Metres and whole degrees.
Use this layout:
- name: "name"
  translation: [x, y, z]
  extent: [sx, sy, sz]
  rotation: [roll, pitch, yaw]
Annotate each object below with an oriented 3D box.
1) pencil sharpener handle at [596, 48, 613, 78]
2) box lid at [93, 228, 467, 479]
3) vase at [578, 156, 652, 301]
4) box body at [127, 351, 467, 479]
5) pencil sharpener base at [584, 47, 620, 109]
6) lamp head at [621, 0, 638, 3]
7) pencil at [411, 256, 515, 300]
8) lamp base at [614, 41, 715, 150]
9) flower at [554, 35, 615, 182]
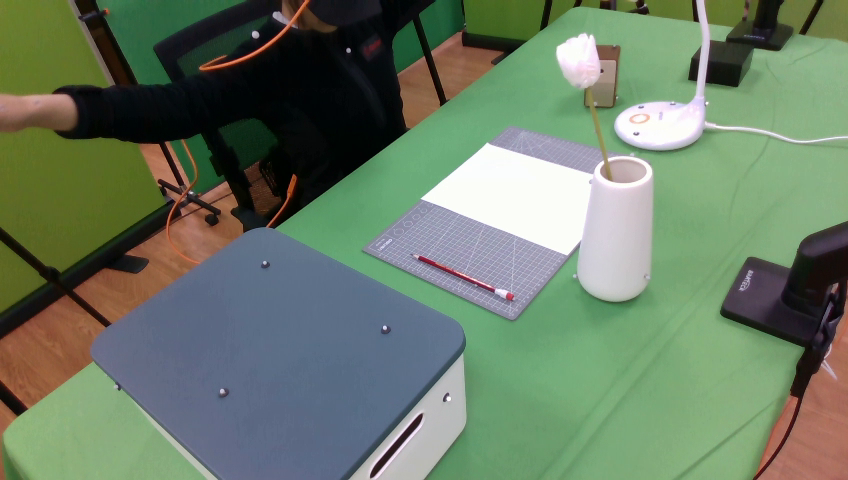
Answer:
- name: "pencil sharpener handle"
  translation: [0.383, -0.378, 1.276]
  extent: [0.036, 0.068, 0.030]
  rotation: [2, 41, 22]
- name: "box lid"
  translation: [-0.167, 0.110, 0.661]
  extent: [0.368, 0.015, 0.264]
  rotation: [23, 49, 34]
- name: "vase"
  translation: [0.261, -0.011, 0.812]
  extent: [0.098, 0.201, 0.097]
  rotation: [-4, 40, 4]
- name: "box body"
  translation: [-0.155, 0.169, 0.707]
  extent: [0.361, 0.161, 0.255]
  rotation: [23, 49, 33]
- name: "pencil sharpener base"
  translation: [0.367, -0.336, 1.248]
  extent: [0.061, 0.107, 0.076]
  rotation: [6, 42, 19]
- name: "lamp head"
  translation: [0.319, -0.453, 0.962]
  extent: [0.113, 0.123, 0.112]
  rotation: [20, 33, -13]
- name: "pencil"
  translation: [0.054, 0.054, 0.918]
  extent: [0.192, 0.012, 0.012]
  rotation: [21, 48, 33]
- name: "lamp base"
  translation: [0.449, -0.277, 1.106]
  extent: [0.179, 0.181, 0.160]
  rotation: [1, 41, 9]
- name: "flower"
  translation: [0.237, -0.083, 0.774]
  extent: [0.044, 0.363, 0.038]
  rotation: [-22, 26, 7]
